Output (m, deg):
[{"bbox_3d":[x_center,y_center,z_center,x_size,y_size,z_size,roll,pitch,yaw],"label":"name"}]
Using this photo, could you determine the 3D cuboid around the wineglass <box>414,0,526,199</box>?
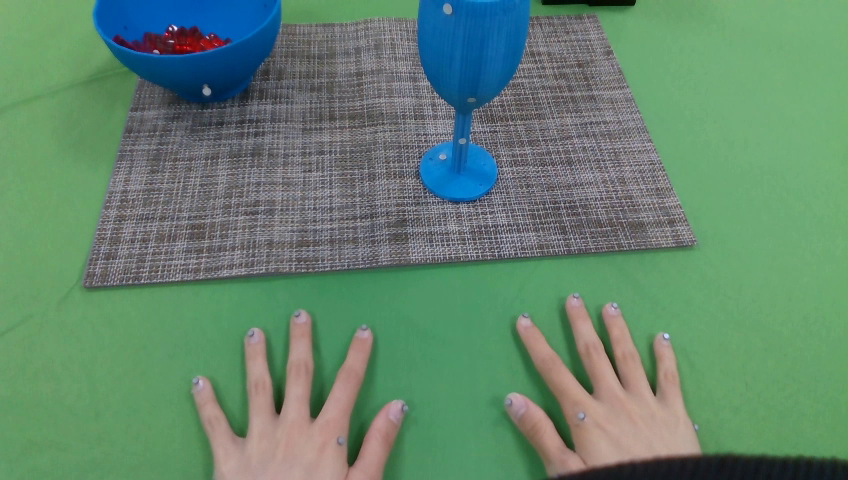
[{"bbox_3d":[0.028,-0.109,0.428,0.074,0.173,0.073,1,54,-1],"label":"wineglass"}]

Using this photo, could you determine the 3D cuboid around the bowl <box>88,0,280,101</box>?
[{"bbox_3d":[-0.196,-0.176,0.525,0.151,0.077,0.150,1,54,-1],"label":"bowl"}]
